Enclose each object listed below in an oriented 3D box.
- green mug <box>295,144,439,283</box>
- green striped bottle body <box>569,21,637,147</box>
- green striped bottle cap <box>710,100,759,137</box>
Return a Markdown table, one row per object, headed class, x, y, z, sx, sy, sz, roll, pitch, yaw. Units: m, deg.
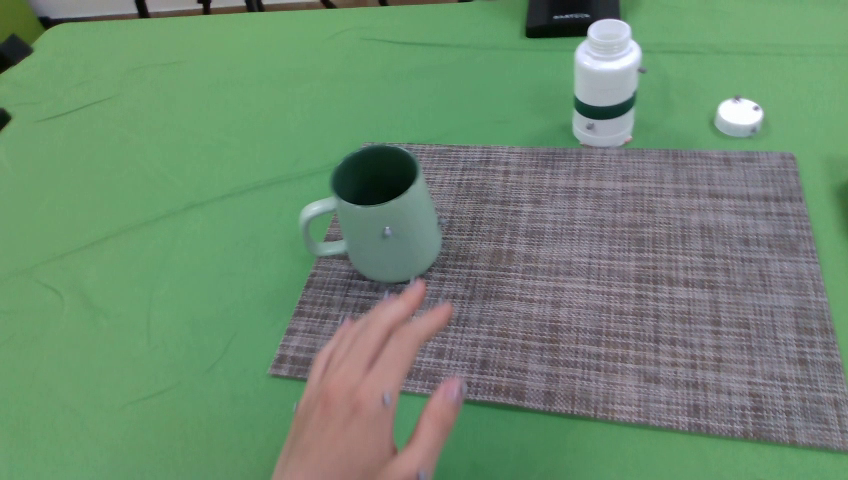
| class | x | y | z | sx | sy | sz | roll | pitch | yaw |
| --- | --- | --- | --- | --- | --- | --- | --- | --- | --- |
| green mug | -0.053 | -0.017 | 0.547 | 0.125 | 0.106 | 0.091 | -17 | 49 | -3 |
| green striped bottle body | 0.181 | -0.158 | 0.617 | 0.063 | 0.120 | 0.062 | -6 | 49 | 7 |
| green striped bottle cap | 0.323 | -0.127 | 0.630 | 0.044 | 0.020 | 0.044 | -4 | 46 | 4 |
